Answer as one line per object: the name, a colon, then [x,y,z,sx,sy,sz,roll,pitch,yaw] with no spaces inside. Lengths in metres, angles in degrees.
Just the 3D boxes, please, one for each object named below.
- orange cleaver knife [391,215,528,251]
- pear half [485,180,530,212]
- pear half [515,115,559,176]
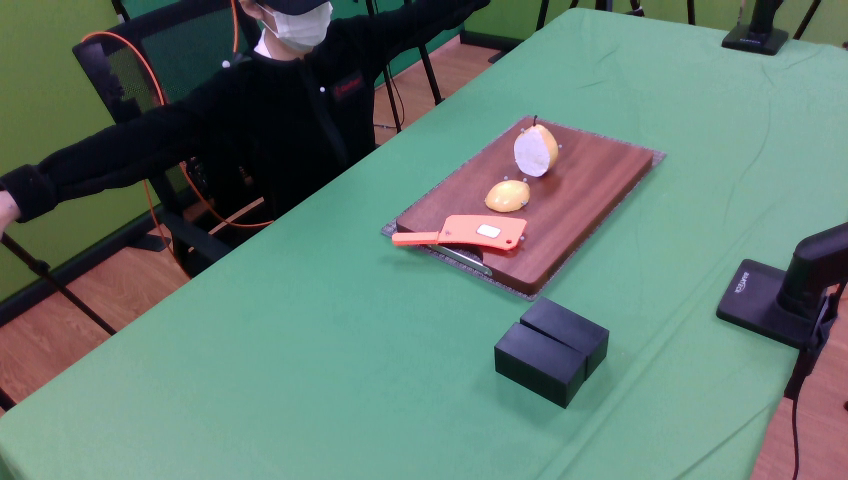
orange cleaver knife: [0.055,-0.013,0.943,0.211,0.012,0.077,0,45,14]
pear half: [0.142,-0.081,1.001,0.088,0.031,0.070,-38,54,-26]
pear half: [0.196,-0.169,1.033,0.076,0.110,0.056,22,49,26]
